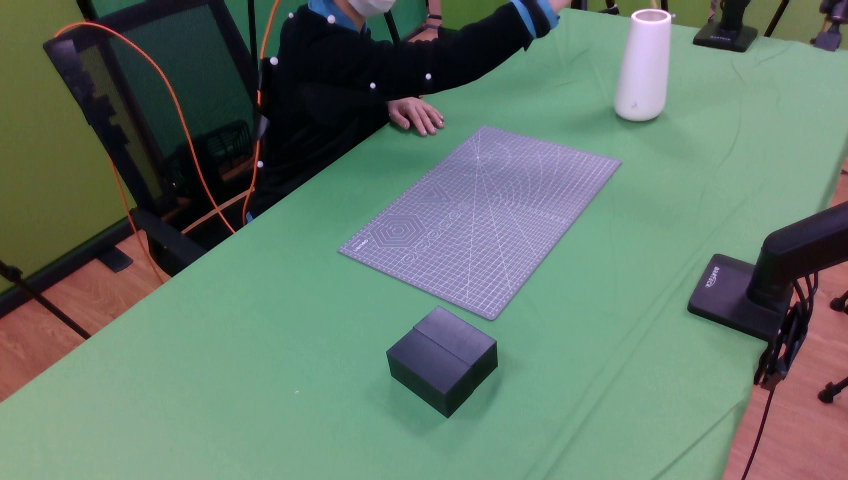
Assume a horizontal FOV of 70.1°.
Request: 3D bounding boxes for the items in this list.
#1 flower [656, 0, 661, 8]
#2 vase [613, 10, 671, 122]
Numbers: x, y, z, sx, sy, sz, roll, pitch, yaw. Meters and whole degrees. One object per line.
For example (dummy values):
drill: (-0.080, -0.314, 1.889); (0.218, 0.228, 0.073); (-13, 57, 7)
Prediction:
flower: (0.327, -0.525, 0.969); (0.038, 0.365, 0.044); (-20, 42, 25)
vase: (0.419, -0.326, 1.151); (0.098, 0.201, 0.097); (-4, 42, 4)
